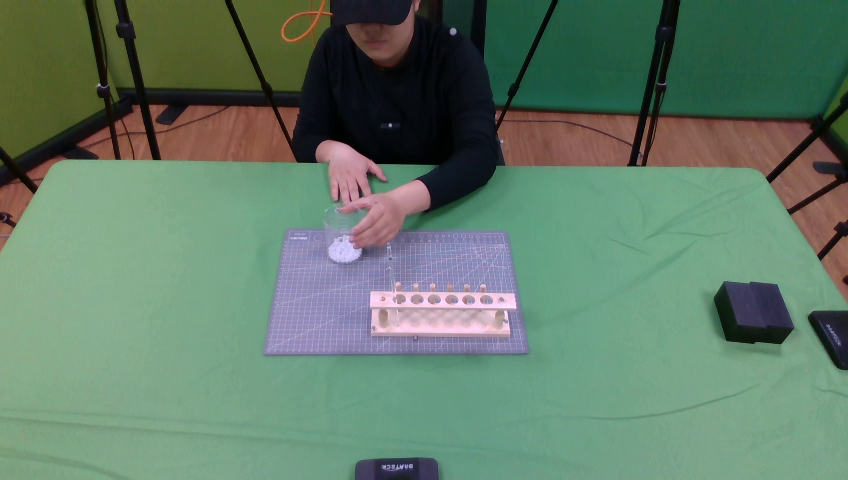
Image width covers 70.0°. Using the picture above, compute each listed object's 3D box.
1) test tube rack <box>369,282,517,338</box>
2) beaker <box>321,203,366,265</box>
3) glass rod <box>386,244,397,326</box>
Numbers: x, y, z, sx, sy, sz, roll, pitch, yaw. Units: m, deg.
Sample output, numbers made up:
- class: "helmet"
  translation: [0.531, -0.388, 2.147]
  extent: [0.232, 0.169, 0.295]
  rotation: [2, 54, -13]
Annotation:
- class: "test tube rack"
  translation: [0.030, 0.116, 1.041]
  extent: [0.242, 0.085, 0.066]
  rotation: [1, 46, -3]
- class: "beaker"
  translation: [-0.149, -0.010, 1.140]
  extent: [0.084, 0.101, 0.073]
  rotation: [-9, 47, -14]
- class: "glass rod"
  translation: [-0.052, 0.078, 0.979]
  extent: [0.008, 0.201, 0.008]
  rotation: [-1, 45, 1]
